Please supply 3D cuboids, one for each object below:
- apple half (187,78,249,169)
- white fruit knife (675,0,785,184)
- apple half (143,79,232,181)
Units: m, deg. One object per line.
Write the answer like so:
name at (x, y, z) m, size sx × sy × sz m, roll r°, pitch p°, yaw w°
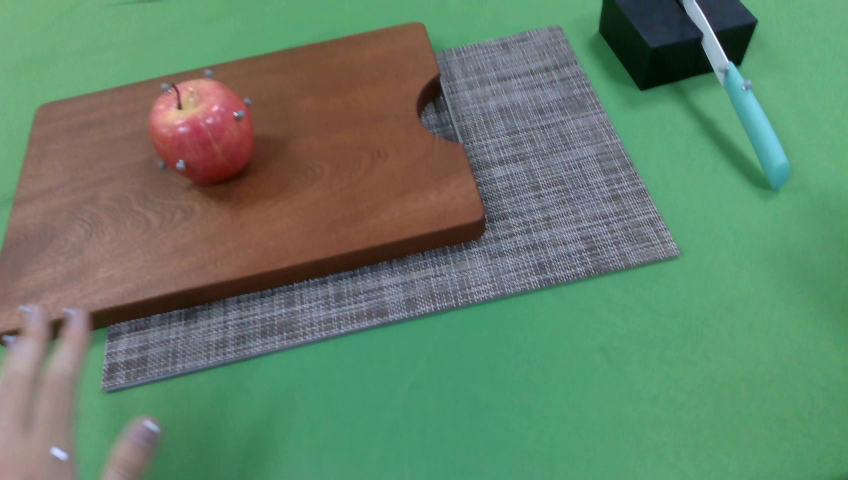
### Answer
apple half at (-0.165, -0.101, 0.510) m, size 0.033 × 0.082 × 0.080 m, roll -24°, pitch 56°, yaw -4°
white fruit knife at (0.254, -0.143, 0.516) m, size 0.016 × 0.027 × 0.206 m, roll -16°, pitch 70°, yaw -3°
apple half at (-0.201, -0.086, 0.506) m, size 0.053 × 0.075 × 0.080 m, roll -24°, pitch 60°, yaw -4°
